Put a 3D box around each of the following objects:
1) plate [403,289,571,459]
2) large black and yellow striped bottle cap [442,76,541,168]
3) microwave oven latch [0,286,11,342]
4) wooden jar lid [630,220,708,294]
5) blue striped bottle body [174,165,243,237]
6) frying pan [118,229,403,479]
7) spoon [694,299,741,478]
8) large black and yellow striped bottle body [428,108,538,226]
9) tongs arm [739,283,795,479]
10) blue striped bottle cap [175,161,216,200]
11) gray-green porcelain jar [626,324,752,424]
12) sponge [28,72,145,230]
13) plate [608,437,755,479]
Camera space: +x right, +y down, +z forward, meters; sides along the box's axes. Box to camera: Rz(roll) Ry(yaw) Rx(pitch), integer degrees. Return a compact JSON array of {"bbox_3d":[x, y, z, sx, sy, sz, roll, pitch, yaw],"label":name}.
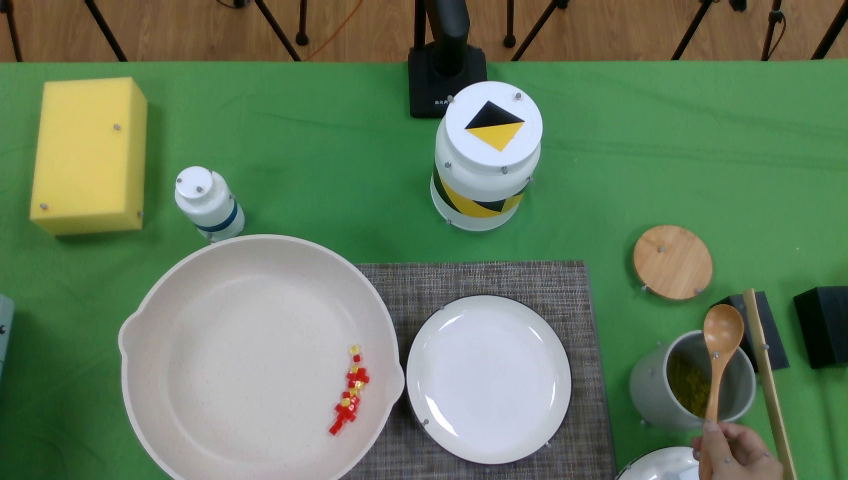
[{"bbox_3d":[0.077,0.165,0.759,0.209,0.038,0.207,1,70,-2],"label":"plate"},{"bbox_3d":[0.079,-0.139,0.705,0.115,0.019,0.114,1,72,-3],"label":"large black and yellow striped bottle cap"},{"bbox_3d":[-0.525,0.095,0.732,0.030,0.029,0.078,2,71,-3],"label":"microwave oven latch"},{"bbox_3d":[0.337,0.024,0.839,0.108,0.021,0.107,1,72,-2],"label":"wooden jar lid"},{"bbox_3d":[-0.277,-0.053,0.775,0.063,0.121,0.062,1,70,-2],"label":"blue striped bottle body"},{"bbox_3d":[-0.188,0.224,0.636,0.308,0.103,0.484,16,59,-15],"label":"frying pan"},{"bbox_3d":[0.310,0.157,0.655,0.041,0.022,0.193,8,70,28],"label":"spoon"},{"bbox_3d":[0.074,-0.108,0.784,0.131,0.185,0.130,1,70,-3],"label":"large black and yellow striped bottle body"},{"bbox_3d":[0.444,0.239,0.729,0.051,0.026,0.383,-6,81,-8],"label":"tongs arm"},{"bbox_3d":[-0.275,-0.072,0.728,0.044,0.021,0.044,1,72,-3],"label":"blue striped bottle cap"},{"bbox_3d":[0.310,0.166,0.730,0.106,0.127,0.105,1,70,-2],"label":"gray-green porcelain jar"},{"bbox_3d":[-0.452,-0.122,0.821,0.118,0.061,0.205,-6,71,-6],"label":"sponge"},{"bbox_3d":[0.306,0.341,0.714,0.208,0.039,0.206,1,70,-3],"label":"plate"}]
